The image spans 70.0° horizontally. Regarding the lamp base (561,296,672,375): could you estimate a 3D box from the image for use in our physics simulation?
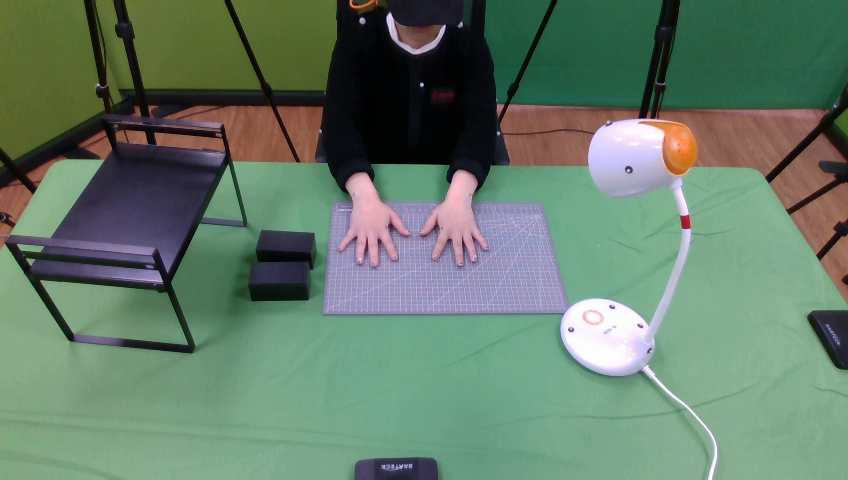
[{"bbox_3d":[0.332,0.119,0.996,0.160,0.181,0.178,-34,59,-31],"label":"lamp base"}]

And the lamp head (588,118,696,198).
[{"bbox_3d":[0.304,-0.113,0.823,0.112,0.112,0.122,-26,16,-26],"label":"lamp head"}]
